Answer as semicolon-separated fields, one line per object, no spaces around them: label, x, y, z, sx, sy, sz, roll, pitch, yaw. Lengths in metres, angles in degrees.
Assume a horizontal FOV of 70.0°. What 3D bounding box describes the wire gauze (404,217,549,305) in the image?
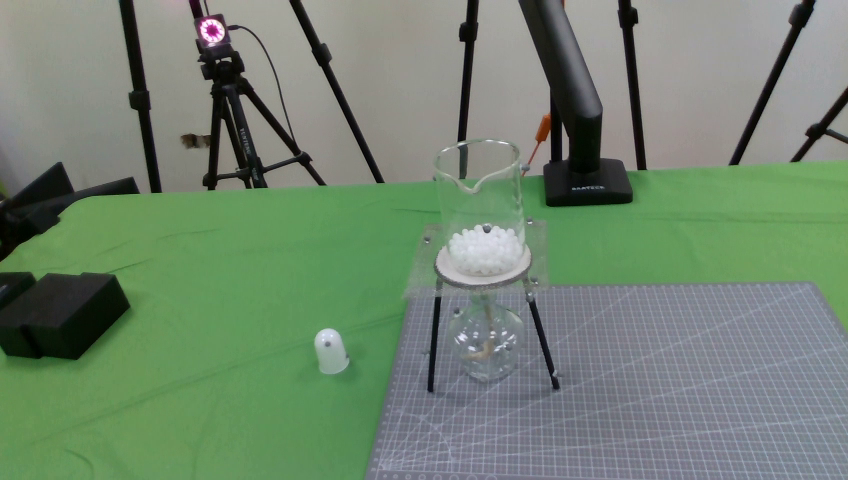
wire gauze;0.050;0.013;0.543;0.121;0.011;0.124;-3;34;12

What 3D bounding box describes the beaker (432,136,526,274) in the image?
beaker;0.049;-0.027;0.515;0.074;0.101;0.083;-2;33;13

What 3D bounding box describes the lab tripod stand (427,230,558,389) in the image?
lab tripod stand;0.059;0.066;0.582;0.148;0.132;0.147;-7;32;5

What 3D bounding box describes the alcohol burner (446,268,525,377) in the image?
alcohol burner;0.059;0.075;0.587;0.078;0.120;0.077;-4;35;3

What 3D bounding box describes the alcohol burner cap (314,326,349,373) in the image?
alcohol burner cap;-0.098;0.111;0.635;0.034;0.048;0.033;-4;34;3
